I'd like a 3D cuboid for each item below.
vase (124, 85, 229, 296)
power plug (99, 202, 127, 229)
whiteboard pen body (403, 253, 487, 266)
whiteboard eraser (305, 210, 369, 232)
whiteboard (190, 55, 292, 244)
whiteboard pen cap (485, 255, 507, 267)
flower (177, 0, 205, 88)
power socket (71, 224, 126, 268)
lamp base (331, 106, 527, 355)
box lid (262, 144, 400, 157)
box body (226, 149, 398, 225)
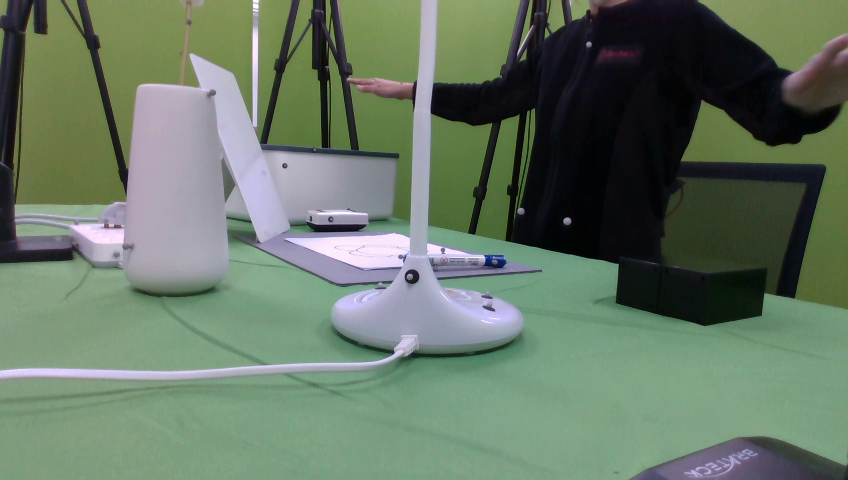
[{"bbox_3d":[-0.244,-0.047,0.598,0.098,0.200,0.098,3,8,0],"label":"vase"},{"bbox_3d":[-0.415,-0.026,0.848,0.073,0.052,0.035,6,5,-28],"label":"power plug"},{"bbox_3d":[0.040,0.026,0.785,0.141,0.017,0.017,1,7,-24],"label":"whiteboard pen body"},{"bbox_3d":[-0.168,-0.038,1.172,0.113,0.042,0.055,-3,8,-35],"label":"whiteboard eraser"},{"bbox_3d":[-0.363,-0.129,1.028,0.144,0.305,0.217,-18,7,3],"label":"whiteboard"},{"bbox_3d":[0.093,0.028,0.810,0.033,0.018,0.018,1,7,-24],"label":"whiteboard pen cap"},{"bbox_3d":[-0.243,-0.131,0.609,0.044,0.361,0.038,-5,-12,12],"label":"flower"},{"bbox_3d":[-0.409,0.004,0.793,0.072,0.032,0.225,-2,8,-37],"label":"power socket"},{"bbox_3d":[0.006,-0.012,0.478,0.161,0.180,0.179,2,10,2],"label":"lamp base"},{"bbox_3d":[-0.263,-0.203,1.369,0.262,0.015,0.373,9,10,39],"label":"box lid"},{"bbox_3d":[-0.265,-0.129,1.380,0.253,0.160,0.366,8,9,39],"label":"box body"}]
